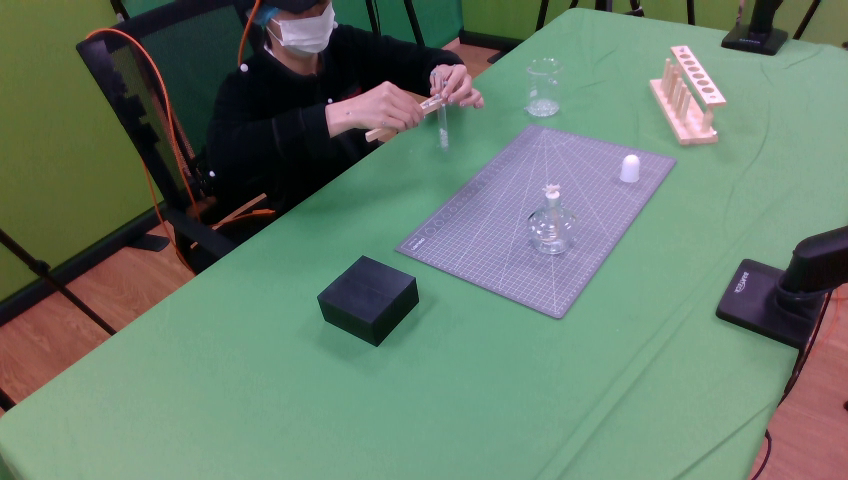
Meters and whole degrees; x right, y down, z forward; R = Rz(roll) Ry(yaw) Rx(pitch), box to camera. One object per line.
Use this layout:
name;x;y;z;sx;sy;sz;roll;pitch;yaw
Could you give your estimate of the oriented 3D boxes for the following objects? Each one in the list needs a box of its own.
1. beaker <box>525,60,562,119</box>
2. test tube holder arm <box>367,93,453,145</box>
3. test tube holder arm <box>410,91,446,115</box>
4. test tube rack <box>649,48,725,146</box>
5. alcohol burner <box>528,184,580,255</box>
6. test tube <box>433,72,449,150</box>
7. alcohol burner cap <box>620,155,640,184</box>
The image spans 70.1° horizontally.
beaker;0.248;-0.309;1.245;0.084;0.101;0.073;-36;47;-30
test tube holder arm;-0.020;-0.200;0.992;0.179;0.015;0.013;-34;44;-27
test tube holder arm;0.007;-0.226;1.017;0.010;0.015;0.088;23;49;34
test tube rack;0.508;-0.285;1.186;0.067;0.085;0.241;-4;40;6
alcohol burner;0.196;-0.036;0.911;0.078;0.119;0.077;-6;41;5
test tube;0.030;-0.219;1.042;0.017;0.151;0.017;-4;44;5
alcohol burner cap;0.358;-0.124;1.047;0.034;0.048;0.033;-4;40;4
